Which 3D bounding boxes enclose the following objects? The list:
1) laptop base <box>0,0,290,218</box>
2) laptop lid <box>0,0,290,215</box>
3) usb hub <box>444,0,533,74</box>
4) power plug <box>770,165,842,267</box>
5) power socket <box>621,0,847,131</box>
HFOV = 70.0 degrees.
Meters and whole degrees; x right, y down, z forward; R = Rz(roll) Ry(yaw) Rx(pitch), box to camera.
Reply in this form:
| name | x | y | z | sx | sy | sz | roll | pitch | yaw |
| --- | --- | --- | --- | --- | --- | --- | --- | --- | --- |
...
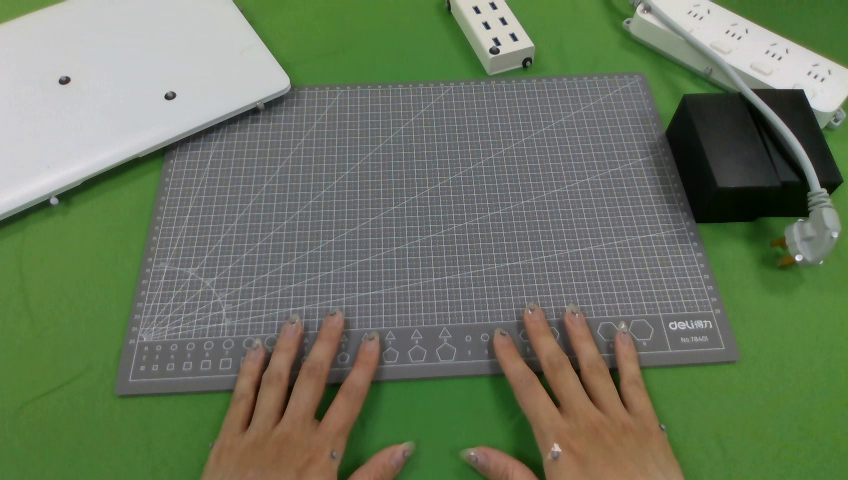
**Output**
| name | x | y | z | sx | sy | sz | roll | pitch | yaw |
| --- | --- | --- | --- | --- | --- | --- | --- | --- | --- |
| laptop base | -0.332 | -0.142 | 0.573 | 0.354 | 0.023 | 0.233 | -29 | 66 | -16 |
| laptop lid | -0.331 | -0.147 | 0.562 | 0.357 | 0.013 | 0.239 | -28 | 64 | -16 |
| usb hub | 0.062 | -0.224 | 0.620 | 0.049 | 0.025 | 0.124 | -18 | 60 | -10 |
| power plug | 0.296 | -0.014 | 0.475 | 0.035 | 0.052 | 0.072 | 21 | 61 | -21 |
| power socket | 0.304 | -0.182 | 0.590 | 0.225 | 0.033 | 0.072 | 38 | 65 | 21 |
